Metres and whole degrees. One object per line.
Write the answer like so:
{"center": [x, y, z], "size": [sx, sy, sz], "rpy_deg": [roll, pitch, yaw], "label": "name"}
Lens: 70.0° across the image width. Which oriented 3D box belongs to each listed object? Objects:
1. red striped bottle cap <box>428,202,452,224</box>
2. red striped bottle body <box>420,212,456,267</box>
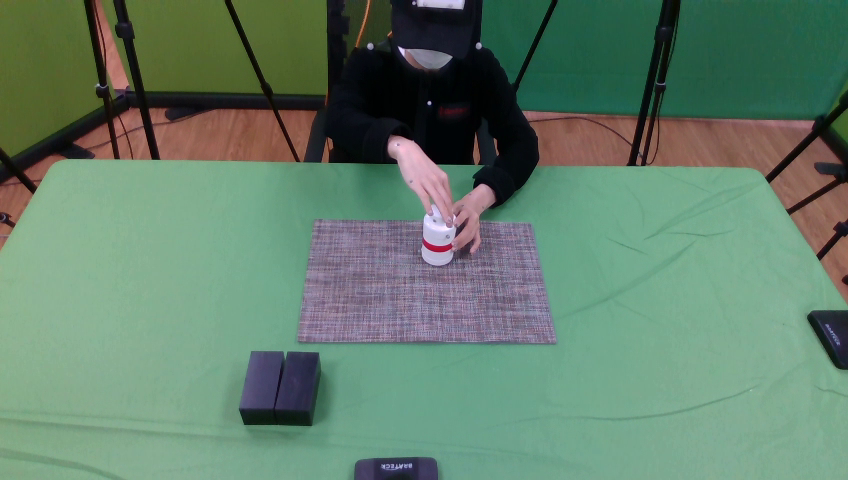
{"center": [0.029, -0.050, 1.100], "size": [0.044, 0.018, 0.044], "rpy_deg": [3, 46, -3], "label": "red striped bottle cap"}
{"center": [0.027, -0.011, 1.139], "size": [0.063, 0.120, 0.062], "rpy_deg": [2, 45, -2], "label": "red striped bottle body"}
